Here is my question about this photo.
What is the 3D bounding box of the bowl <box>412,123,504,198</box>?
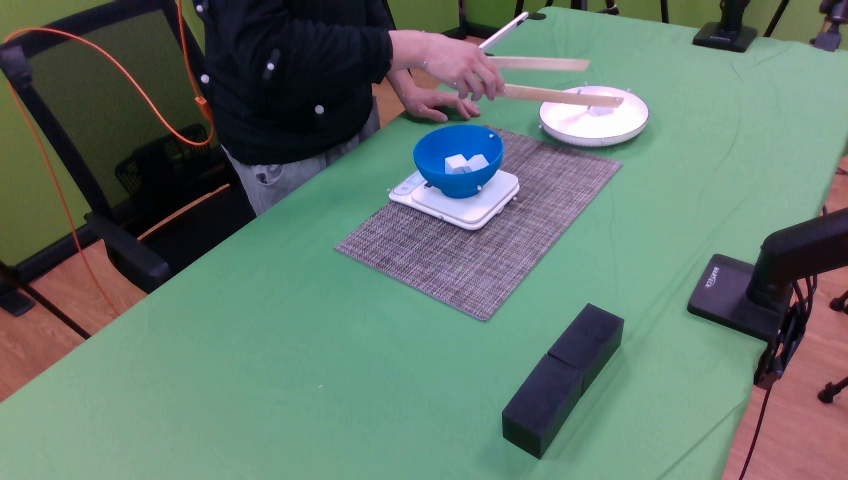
[{"bbox_3d":[0.059,-0.123,1.007,0.151,0.077,0.150,-5,41,5],"label":"bowl"}]

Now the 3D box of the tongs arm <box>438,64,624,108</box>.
[{"bbox_3d":[0.204,-0.273,1.083,0.388,0.026,0.050,-3,53,-29],"label":"tongs arm"}]

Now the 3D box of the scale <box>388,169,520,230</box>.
[{"bbox_3d":[0.050,-0.090,1.051,0.199,0.032,0.149,24,49,31],"label":"scale"}]

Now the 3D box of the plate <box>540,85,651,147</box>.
[{"bbox_3d":[0.333,-0.239,1.185,0.207,0.039,0.206,-4,41,4],"label":"plate"}]

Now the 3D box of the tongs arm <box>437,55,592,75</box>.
[{"bbox_3d":[0.178,-0.324,1.119,0.390,0.027,0.028,-11,61,-34],"label":"tongs arm"}]
